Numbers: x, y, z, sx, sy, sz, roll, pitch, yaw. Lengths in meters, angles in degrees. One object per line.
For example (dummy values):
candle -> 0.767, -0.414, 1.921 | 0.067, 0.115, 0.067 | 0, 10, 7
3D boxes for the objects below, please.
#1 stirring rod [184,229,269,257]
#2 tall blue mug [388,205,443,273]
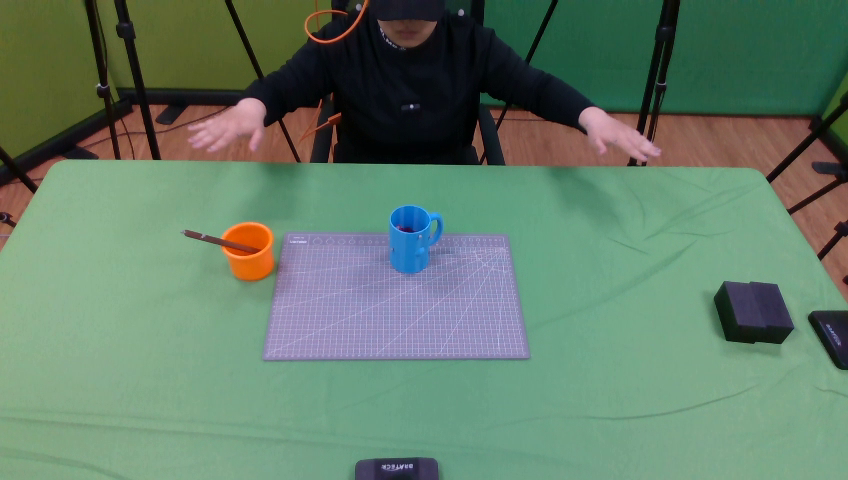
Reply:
stirring rod -> -0.349, 0.007, 1.084 | 0.177, 0.006, 0.014 | 21, 30, -51
tall blue mug -> -0.021, -0.010, 1.143 | 0.077, 0.108, 0.107 | 23, 49, 18
